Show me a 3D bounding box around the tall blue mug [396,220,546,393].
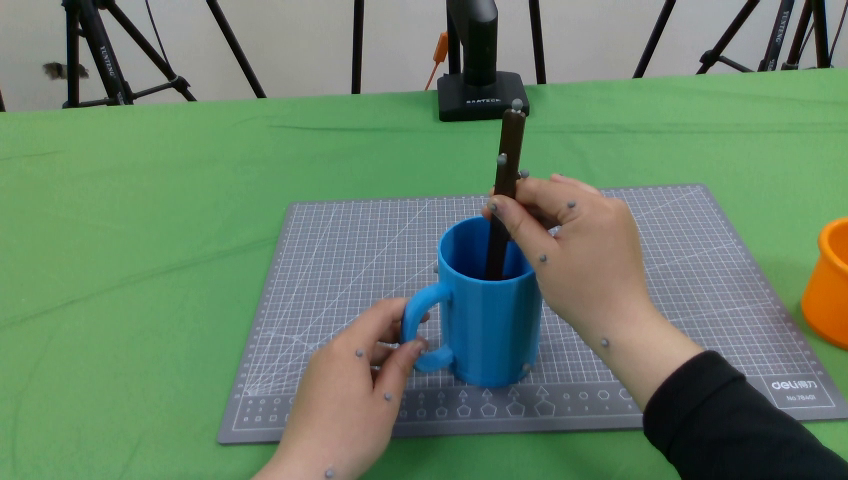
[{"bbox_3d":[0.039,0.058,0.441,0.077,0.109,0.107,20,44,25],"label":"tall blue mug"}]

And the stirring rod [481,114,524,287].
[{"bbox_3d":[0.051,-0.010,0.413,0.014,0.178,0.006,16,48,15],"label":"stirring rod"}]
